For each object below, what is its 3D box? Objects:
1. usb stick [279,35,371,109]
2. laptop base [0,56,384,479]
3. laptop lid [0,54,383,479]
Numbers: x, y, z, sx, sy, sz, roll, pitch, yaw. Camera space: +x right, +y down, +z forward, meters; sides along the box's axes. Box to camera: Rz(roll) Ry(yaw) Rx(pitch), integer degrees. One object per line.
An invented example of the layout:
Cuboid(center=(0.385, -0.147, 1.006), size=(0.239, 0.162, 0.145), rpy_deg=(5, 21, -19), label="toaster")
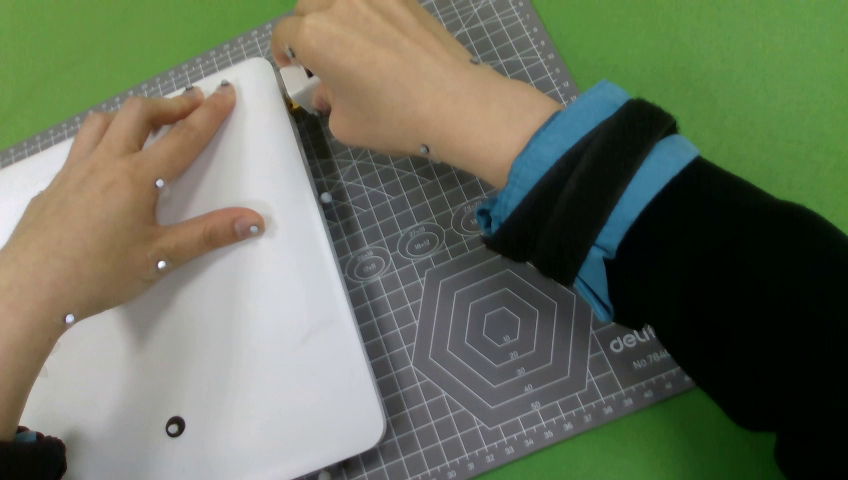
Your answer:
Cuboid(center=(-0.062, -0.092, 0.342), size=(0.059, 0.027, 0.021), rpy_deg=(-19, 77, 11), label="usb stick")
Cuboid(center=(-0.215, 0.057, 0.348), size=(0.354, 0.023, 0.234), rpy_deg=(-22, 74, 5), label="laptop base")
Cuboid(center=(-0.217, 0.056, 0.336), size=(0.356, 0.013, 0.240), rpy_deg=(-21, 73, 5), label="laptop lid")
